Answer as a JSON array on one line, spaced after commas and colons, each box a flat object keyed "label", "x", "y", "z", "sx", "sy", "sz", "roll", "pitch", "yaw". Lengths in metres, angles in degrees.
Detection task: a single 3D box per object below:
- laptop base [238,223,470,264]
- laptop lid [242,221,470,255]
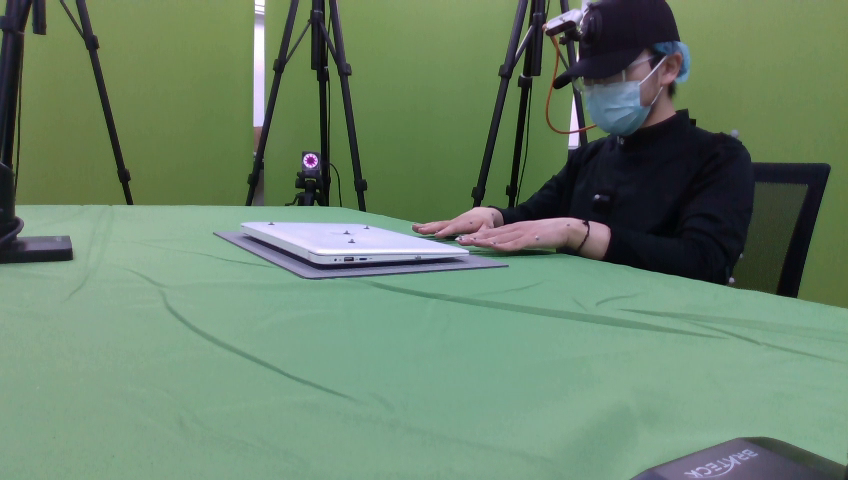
[{"label": "laptop base", "x": -0.123, "y": 0.005, "z": 0.936, "sx": 0.237, "sy": 0.023, "sz": 0.352, "roll": 2, "pitch": 6, "yaw": -33}, {"label": "laptop lid", "x": -0.121, "y": -0.007, "z": 0.936, "sx": 0.243, "sy": 0.013, "sz": 0.355, "roll": 1, "pitch": 7, "yaw": -31}]
